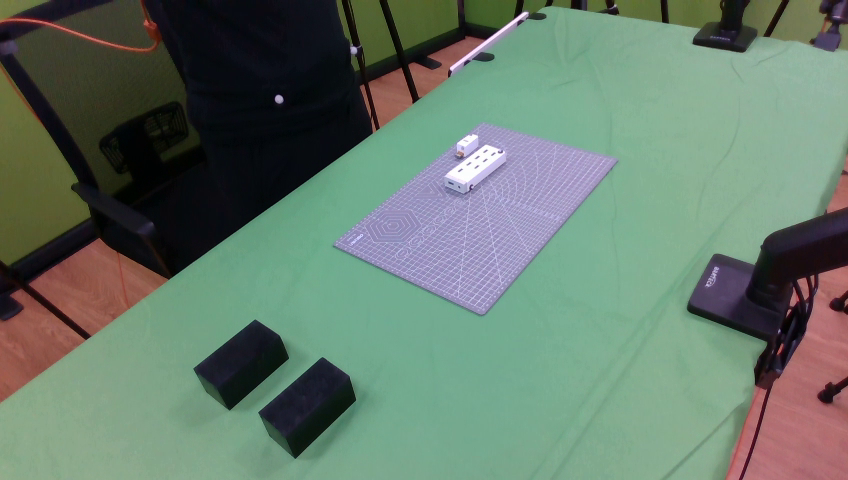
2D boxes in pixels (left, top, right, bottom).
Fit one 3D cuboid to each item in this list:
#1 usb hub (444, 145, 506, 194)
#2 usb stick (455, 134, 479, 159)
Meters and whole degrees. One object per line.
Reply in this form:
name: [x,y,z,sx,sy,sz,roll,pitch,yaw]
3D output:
usb hub: [0.095,-0.129,1.101,0.049,0.025,0.125,27,51,33]
usb stick: [0.080,-0.177,1.159,0.021,0.027,0.059,24,52,33]
